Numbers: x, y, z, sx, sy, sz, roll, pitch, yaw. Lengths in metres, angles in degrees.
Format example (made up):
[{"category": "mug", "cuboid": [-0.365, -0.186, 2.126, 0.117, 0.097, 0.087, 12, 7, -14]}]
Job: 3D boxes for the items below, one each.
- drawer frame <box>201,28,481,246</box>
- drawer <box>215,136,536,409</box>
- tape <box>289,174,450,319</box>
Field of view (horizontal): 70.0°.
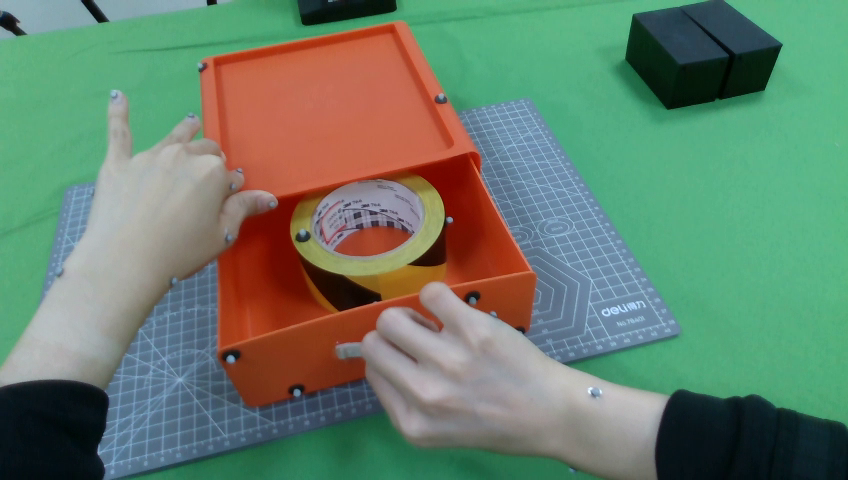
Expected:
[{"category": "drawer frame", "cuboid": [-0.080, -0.083, 0.521, 0.202, 0.083, 0.211, -15, 47, -9]}, {"category": "drawer", "cuboid": [-0.049, -0.002, 0.446, 0.195, 0.074, 0.209, -13, 47, -8]}, {"category": "tape", "cuboid": [-0.040, 0.003, 0.448, 0.117, 0.053, 0.115, -2, 47, 2]}]
